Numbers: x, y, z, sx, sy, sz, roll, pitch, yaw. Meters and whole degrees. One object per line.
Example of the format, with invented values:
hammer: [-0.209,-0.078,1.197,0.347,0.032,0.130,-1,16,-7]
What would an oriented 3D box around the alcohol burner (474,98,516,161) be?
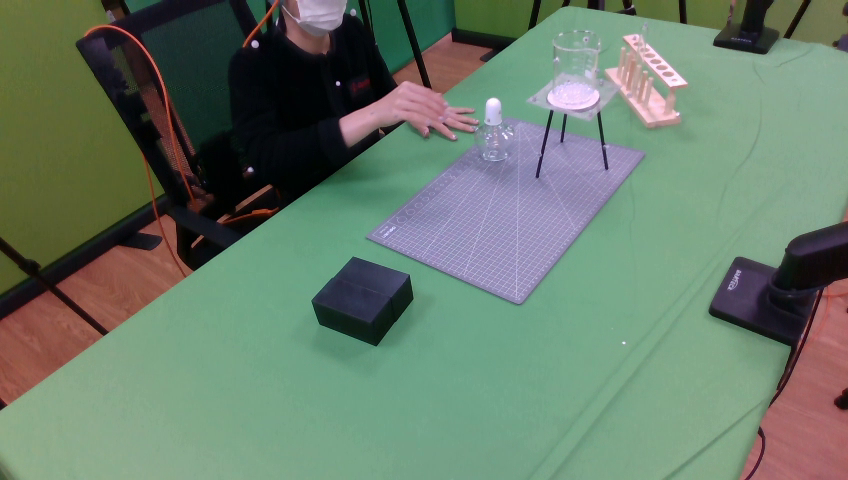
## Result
alcohol burner: [0.131,-0.208,1.121,0.078,0.119,0.077,-6,40,5]

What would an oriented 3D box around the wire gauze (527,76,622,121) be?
wire gauze: [0.255,-0.247,1.030,0.124,0.011,0.122,23,49,34]

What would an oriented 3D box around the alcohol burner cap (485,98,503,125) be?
alcohol burner cap: [0.126,-0.234,1.097,0.034,0.048,0.033,-3,39,3]

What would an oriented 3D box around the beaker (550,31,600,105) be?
beaker: [0.250,-0.281,0.996,0.074,0.101,0.083,-37,49,-27]

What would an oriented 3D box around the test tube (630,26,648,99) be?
test tube: [0.426,-0.350,1.199,0.017,0.151,0.017,-4,42,4]

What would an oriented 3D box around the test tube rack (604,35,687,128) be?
test tube rack: [0.447,-0.330,1.241,0.067,0.085,0.241,-9,41,-2]

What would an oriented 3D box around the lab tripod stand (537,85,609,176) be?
lab tripod stand: [0.259,-0.192,1.068,0.148,0.132,0.147,-4,43,4]
